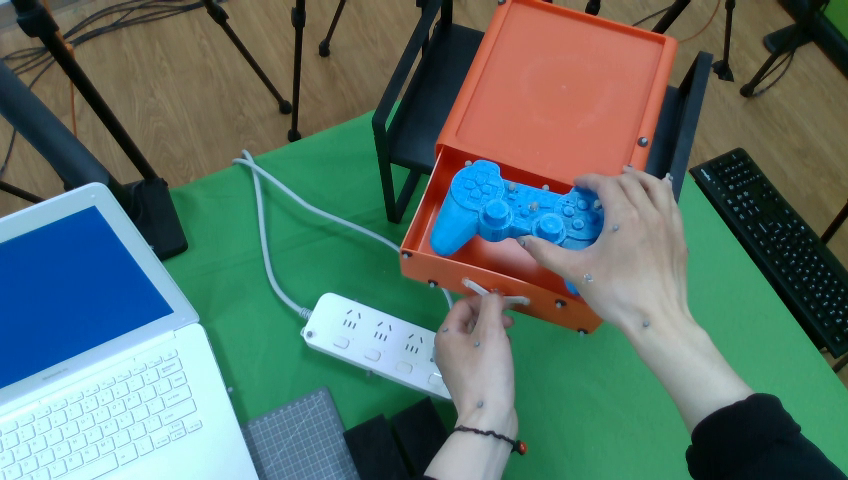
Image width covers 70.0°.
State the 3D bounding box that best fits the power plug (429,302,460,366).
[{"bbox_3d":[0.034,0.119,0.734,0.035,0.053,0.072,30,68,11],"label":"power plug"}]

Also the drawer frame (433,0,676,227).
[{"bbox_3d":[0.138,-0.140,0.646,0.201,0.083,0.212,18,68,8],"label":"drawer frame"}]

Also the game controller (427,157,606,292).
[{"bbox_3d":[0.088,-0.020,0.545,0.155,0.052,0.096,17,63,6],"label":"game controller"}]

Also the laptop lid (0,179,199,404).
[{"bbox_3d":[-0.464,0.086,0.665,0.357,0.244,0.013,-26,45,-9],"label":"laptop lid"}]

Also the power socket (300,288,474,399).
[{"bbox_3d":[-0.045,0.128,0.755,0.226,0.033,0.072,20,68,9],"label":"power socket"}]

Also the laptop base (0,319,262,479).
[{"bbox_3d":[-0.389,0.265,0.705,0.354,0.023,0.234,-25,72,-10],"label":"laptop base"}]

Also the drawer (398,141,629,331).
[{"bbox_3d":[0.100,-0.038,0.603,0.194,0.074,0.210,17,66,8],"label":"drawer"}]
